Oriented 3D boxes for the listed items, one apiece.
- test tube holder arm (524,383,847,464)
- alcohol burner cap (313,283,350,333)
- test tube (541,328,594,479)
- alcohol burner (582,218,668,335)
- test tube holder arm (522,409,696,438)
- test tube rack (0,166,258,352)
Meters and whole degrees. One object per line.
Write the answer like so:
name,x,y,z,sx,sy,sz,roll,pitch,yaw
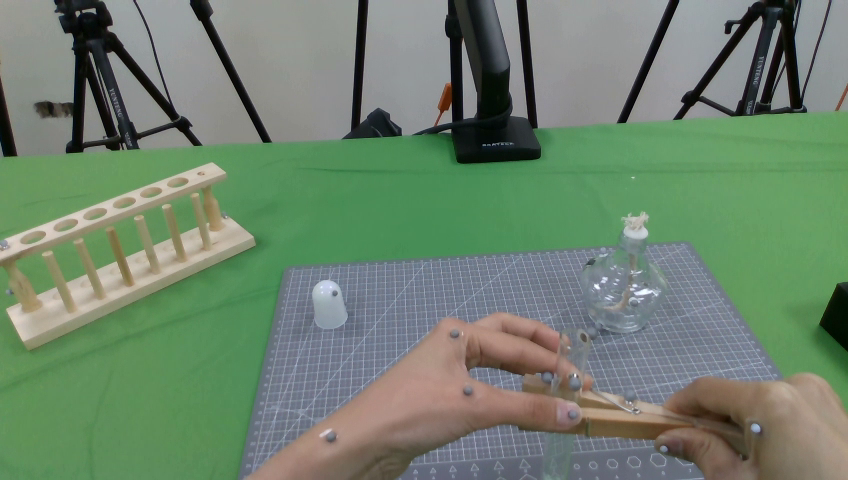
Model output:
test tube holder arm,0.141,0.096,0.314,0.178,0.015,0.013,5,45,15
alcohol burner cap,-0.090,0.062,0.583,0.034,0.048,0.033,-1,36,1
test tube,0.077,0.109,0.340,0.017,0.151,0.017,-1,35,1
alcohol burner,0.185,0.028,0.551,0.078,0.120,0.077,-1,38,1
test tube holder arm,0.096,0.097,0.320,0.088,0.015,0.010,-2,43,8
test tube rack,-0.306,0.011,0.635,0.242,0.086,0.066,-29,43,-32
